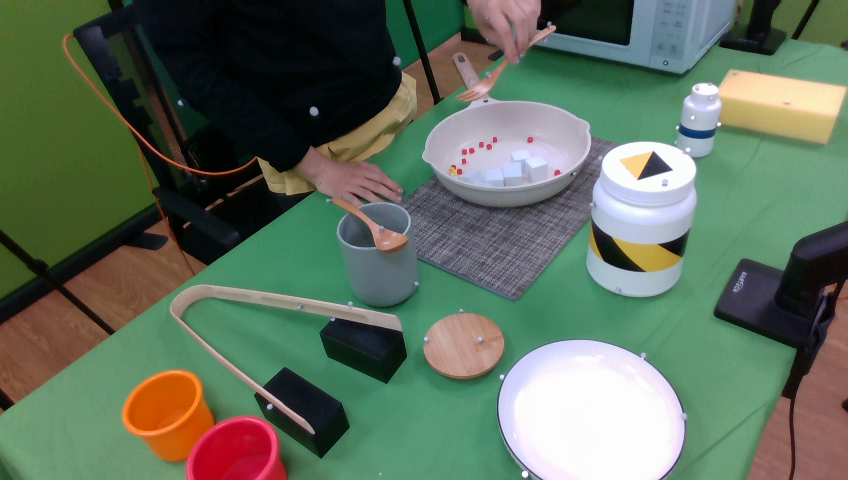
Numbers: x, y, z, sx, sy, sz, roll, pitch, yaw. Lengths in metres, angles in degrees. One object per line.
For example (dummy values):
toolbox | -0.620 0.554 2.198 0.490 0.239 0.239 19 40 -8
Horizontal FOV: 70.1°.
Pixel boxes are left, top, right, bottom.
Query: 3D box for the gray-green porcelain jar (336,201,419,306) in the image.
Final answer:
gray-green porcelain jar | -0.064 0.024 0.872 0.106 0.127 0.105 -4 41 4

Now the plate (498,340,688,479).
plate | 0.189 0.206 0.692 0.207 0.039 0.206 -4 40 4

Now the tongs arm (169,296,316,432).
tongs arm | -0.248 0.148 0.775 0.384 0.028 0.028 20 57 44

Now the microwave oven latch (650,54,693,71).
microwave oven latch | 0.531 -0.386 1.301 0.078 0.029 0.030 26 51 33

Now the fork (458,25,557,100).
fork | 0.121 -0.249 0.841 0.028 0.019 0.208 27 62 40

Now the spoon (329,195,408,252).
spoon | -0.082 -0.029 0.828 0.042 0.022 0.192 -31 42 -21

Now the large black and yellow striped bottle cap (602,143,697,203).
large black and yellow striped bottle cap | 0.289 -0.088 0.779 0.115 0.019 0.114 -5 40 4

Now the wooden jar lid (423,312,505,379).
wooden jar lid | 0.053 0.142 0.800 0.108 0.021 0.108 -5 39 4

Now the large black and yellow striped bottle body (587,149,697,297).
large black and yellow striped bottle body | 0.298 -0.026 0.835 0.131 0.185 0.130 -4 41 4

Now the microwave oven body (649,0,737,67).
microwave oven body | 0.475 -0.602 1.411 0.438 0.261 0.327 23 50 32

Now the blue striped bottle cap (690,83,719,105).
blue striped bottle cap | 0.481 -0.251 1.038 0.044 0.021 0.044 -5 39 4

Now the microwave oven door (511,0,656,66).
microwave oven door | 0.351 -0.540 1.349 0.353 0.245 0.039 24 50 31

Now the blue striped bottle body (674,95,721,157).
blue striped bottle body | 0.486 -0.213 1.071 0.063 0.121 0.063 -4 40 4

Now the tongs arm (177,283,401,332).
tongs arm | -0.199 0.096 0.823 0.382 0.027 0.051 7 45 34

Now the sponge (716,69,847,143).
sponge | 0.663 -0.256 1.142 0.205 0.061 0.118 19 47 28

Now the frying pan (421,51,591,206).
frying pan | 0.127 -0.233 1.155 0.307 0.103 0.484 -11 49 -5
